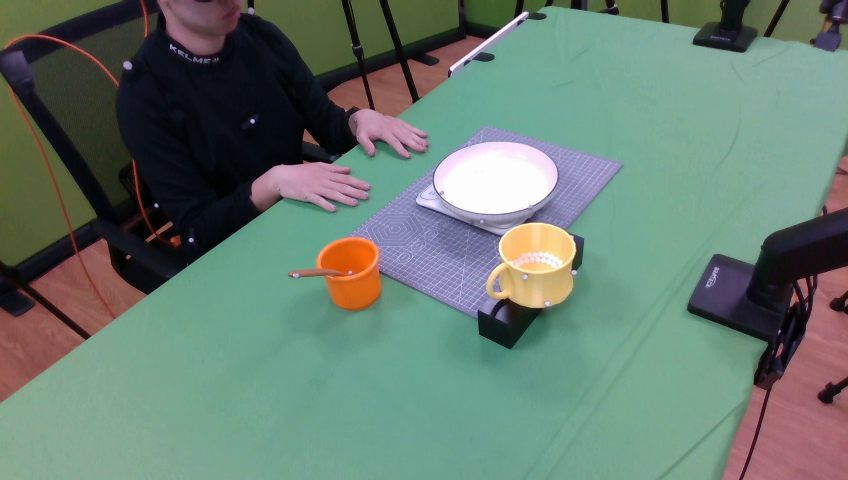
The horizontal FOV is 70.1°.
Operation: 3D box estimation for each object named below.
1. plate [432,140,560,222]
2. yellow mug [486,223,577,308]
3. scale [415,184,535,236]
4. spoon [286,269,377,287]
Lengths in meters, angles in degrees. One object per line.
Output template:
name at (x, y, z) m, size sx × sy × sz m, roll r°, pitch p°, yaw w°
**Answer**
plate at (0.118, -0.094, 0.999) m, size 0.209 × 0.038 × 0.208 m, roll -4°, pitch 41°, yaw 4°
yellow mug at (0.136, 0.038, 0.793) m, size 0.131 × 0.064 × 0.099 m, roll -25°, pitch 43°, yaw -19°
scale at (0.099, -0.080, 1.035) m, size 0.199 × 0.032 × 0.149 m, roll 23°, pitch 48°, yaw 31°
spoon at (-0.125, 0.049, 0.831) m, size 0.041 × 0.195 × 0.021 m, roll 22°, pitch 93°, yaw 28°
